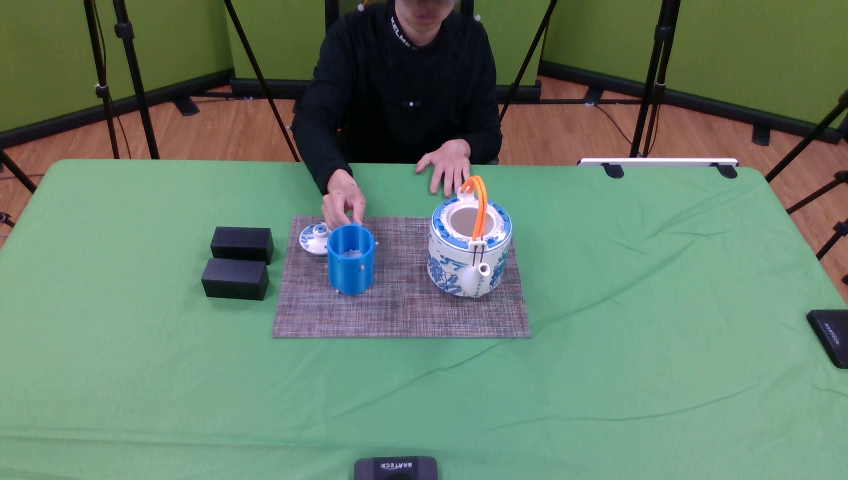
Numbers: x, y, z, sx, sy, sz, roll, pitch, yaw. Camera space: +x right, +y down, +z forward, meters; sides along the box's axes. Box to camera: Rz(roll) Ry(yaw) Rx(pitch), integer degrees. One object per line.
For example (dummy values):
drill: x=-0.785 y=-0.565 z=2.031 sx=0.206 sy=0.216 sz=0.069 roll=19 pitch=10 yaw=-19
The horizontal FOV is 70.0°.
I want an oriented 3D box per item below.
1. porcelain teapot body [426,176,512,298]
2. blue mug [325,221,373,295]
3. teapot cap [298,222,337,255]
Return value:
porcelain teapot body: x=0.085 y=0.009 z=1.051 sx=0.145 sy=0.226 sz=0.204 roll=-5 pitch=47 yaw=-9
blue mug: x=-0.133 y=0.023 z=1.099 sx=0.082 sy=0.106 sz=0.116 roll=5 pitch=49 yaw=-2
teapot cap: x=-0.201 y=-0.008 z=1.171 sx=0.085 sy=0.044 sz=0.084 roll=1 pitch=48 yaw=0
